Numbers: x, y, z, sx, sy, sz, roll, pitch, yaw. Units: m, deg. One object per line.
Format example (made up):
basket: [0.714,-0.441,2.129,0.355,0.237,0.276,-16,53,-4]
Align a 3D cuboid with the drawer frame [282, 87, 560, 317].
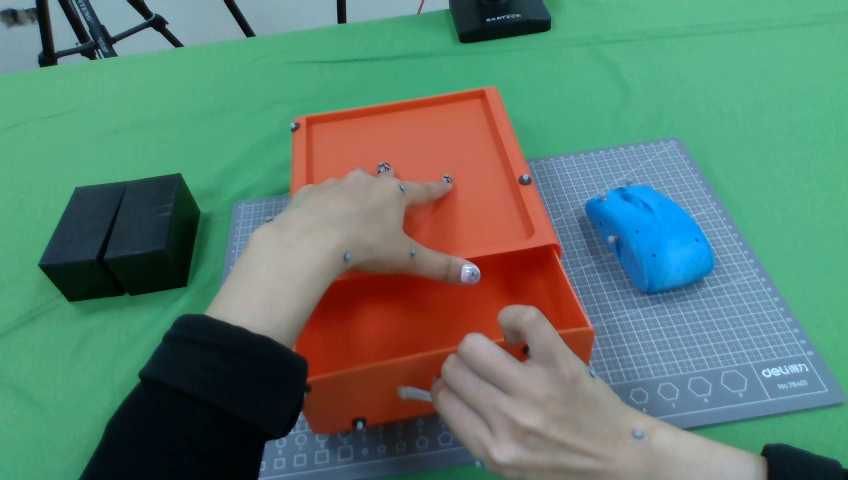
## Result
drawer frame: [-0.012,-0.028,0.519,0.202,0.083,0.211,-10,46,-2]

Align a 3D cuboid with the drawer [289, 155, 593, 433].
drawer: [0.000,0.026,0.467,0.194,0.074,0.209,-10,46,-2]

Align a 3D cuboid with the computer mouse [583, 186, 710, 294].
computer mouse: [0.183,-0.008,0.506,0.063,0.041,0.116,-16,43,-4]
